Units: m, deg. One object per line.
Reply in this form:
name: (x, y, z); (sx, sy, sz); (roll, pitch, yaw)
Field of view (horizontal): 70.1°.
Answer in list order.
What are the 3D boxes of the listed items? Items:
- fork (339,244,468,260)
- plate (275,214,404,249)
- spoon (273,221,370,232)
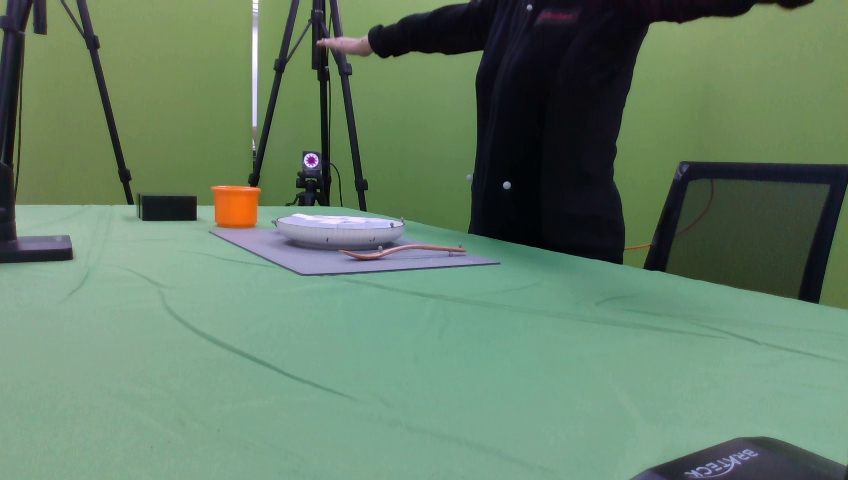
fork: (-0.024, 0.016, 0.865); (0.208, 0.018, 0.028); (-4, 3, -31)
plate: (-0.135, -0.013, 0.982); (0.208, 0.039, 0.207); (3, 7, 0)
spoon: (-0.187, -0.027, 1.132); (0.195, 0.021, 0.041); (-2, -8, -34)
